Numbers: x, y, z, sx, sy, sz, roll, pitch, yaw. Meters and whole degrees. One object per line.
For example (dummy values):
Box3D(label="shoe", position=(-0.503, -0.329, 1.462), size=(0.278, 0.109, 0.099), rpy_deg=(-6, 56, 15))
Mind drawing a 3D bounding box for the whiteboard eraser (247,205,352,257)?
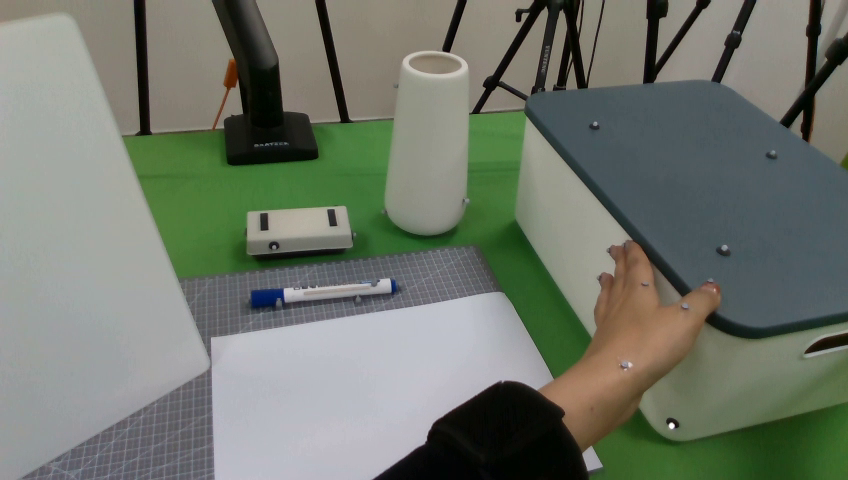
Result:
Box3D(label="whiteboard eraser", position=(-0.139, -0.008, 0.673), size=(0.113, 0.042, 0.055), rpy_deg=(-6, 37, -12))

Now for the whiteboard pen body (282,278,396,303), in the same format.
Box3D(label="whiteboard pen body", position=(-0.098, 0.052, 0.617), size=(0.141, 0.017, 0.017), rpy_deg=(-4, 39, -12))

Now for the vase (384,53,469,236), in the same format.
Box3D(label="vase", position=(0.008, -0.102, 0.683), size=(0.098, 0.201, 0.097), rpy_deg=(4, 38, -3))

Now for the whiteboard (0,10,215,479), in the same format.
Box3D(label="whiteboard", position=(-0.332, 0.009, 0.459), size=(0.217, 0.308, 0.142), rpy_deg=(-29, 30, -35))

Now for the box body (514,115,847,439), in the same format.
Box3D(label="box body", position=(0.271, -0.001, 0.616), size=(0.255, 0.162, 0.359), rpy_deg=(-7, 40, -15))

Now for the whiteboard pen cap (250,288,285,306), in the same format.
Box3D(label="whiteboard pen cap", position=(-0.156, 0.057, 0.604), size=(0.033, 0.018, 0.018), rpy_deg=(-2, 39, -14))

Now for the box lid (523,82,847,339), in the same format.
Box3D(label="box lid", position=(0.275, -0.059, 0.567), size=(0.264, 0.015, 0.367), rpy_deg=(-8, 40, -15))

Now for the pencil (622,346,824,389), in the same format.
Box3D(label="pencil", position=(0.285, 0.123, 0.577), size=(0.194, 0.012, 0.012), rpy_deg=(11, 38, 1))
